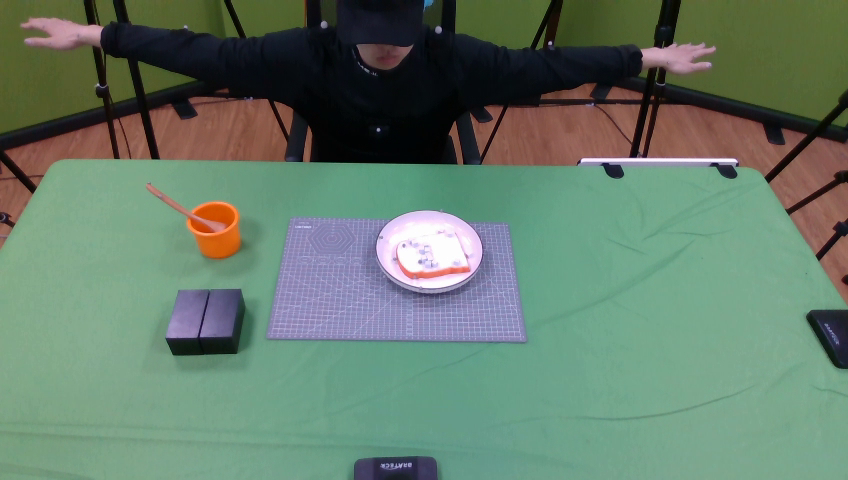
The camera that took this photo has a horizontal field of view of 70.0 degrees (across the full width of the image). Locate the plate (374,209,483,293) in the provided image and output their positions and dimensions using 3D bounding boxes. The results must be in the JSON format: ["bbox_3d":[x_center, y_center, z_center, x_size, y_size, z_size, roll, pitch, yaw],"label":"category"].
[{"bbox_3d":[0.009,0.024,1.160,0.209,0.038,0.208,2,46,-2],"label":"plate"}]

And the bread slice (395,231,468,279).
[{"bbox_3d":[0.011,0.030,1.158,0.132,0.019,0.104,-8,47,-14],"label":"bread slice"}]

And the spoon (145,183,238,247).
[{"bbox_3d":[-0.424,-0.045,1.114,0.195,0.021,0.041,34,40,-28],"label":"spoon"}]
